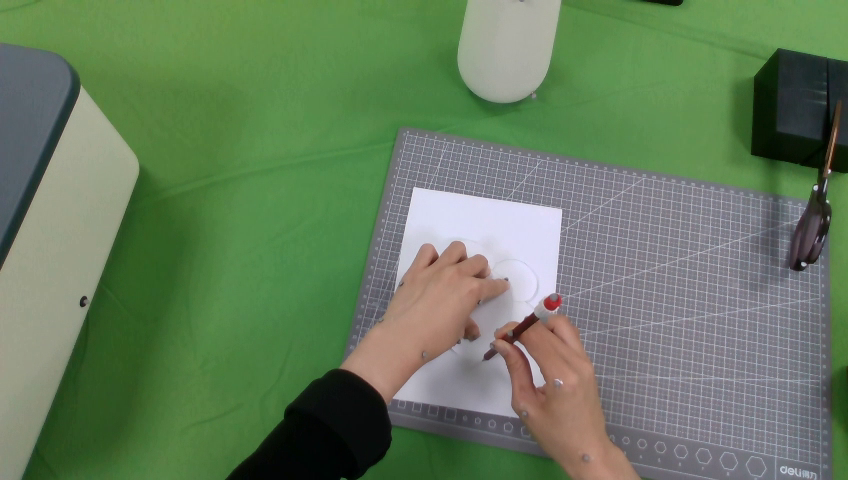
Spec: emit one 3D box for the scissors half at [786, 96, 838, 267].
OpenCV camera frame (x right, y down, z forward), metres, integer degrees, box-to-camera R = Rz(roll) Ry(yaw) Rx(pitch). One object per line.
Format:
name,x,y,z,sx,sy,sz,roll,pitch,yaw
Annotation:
scissors half,0.381,-0.058,0.591,0.012,0.040,0.175,16,90,19

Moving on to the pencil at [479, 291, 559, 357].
pencil,0.067,0.072,0.475,0.012,0.195,0.012,4,68,-9

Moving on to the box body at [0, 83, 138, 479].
box body,-0.432,0.025,0.502,0.254,0.161,0.362,11,71,3

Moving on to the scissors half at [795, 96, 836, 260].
scissors half,0.376,-0.062,0.572,0.013,0.040,0.174,16,72,14

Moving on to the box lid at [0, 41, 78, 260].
box lid,-0.432,-0.002,0.431,0.263,0.015,0.369,11,71,2

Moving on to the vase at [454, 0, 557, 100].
vase,0.080,-0.221,0.575,0.098,0.201,0.097,0,70,0

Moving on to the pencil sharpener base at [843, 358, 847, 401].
pencil sharpener base,0.419,0.134,0.512,0.061,0.107,0.076,6,71,1

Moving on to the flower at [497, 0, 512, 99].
flower,0.077,-0.262,0.501,0.044,0.365,0.038,4,53,4
